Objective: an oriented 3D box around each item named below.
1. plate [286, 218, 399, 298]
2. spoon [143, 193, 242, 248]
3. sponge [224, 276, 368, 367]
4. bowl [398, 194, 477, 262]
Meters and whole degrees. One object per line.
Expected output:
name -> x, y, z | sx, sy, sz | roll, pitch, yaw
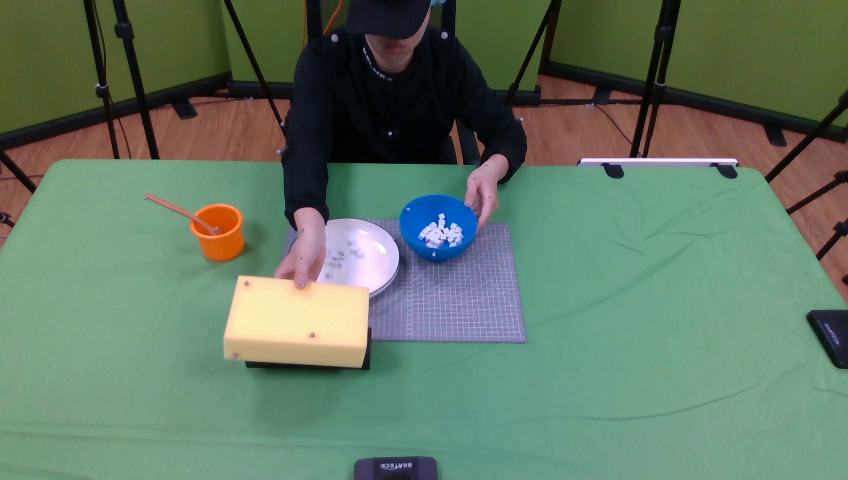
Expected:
plate -> -0.150, 0.042, 1.131 | 0.209, 0.038, 0.208 | 2, 46, -2
spoon -> -0.421, -0.037, 1.113 | 0.021, 0.195, 0.041 | -36, 37, 23
sponge -> -0.194, 0.127, 0.944 | 0.207, 0.061, 0.117 | 6, 46, -10
bowl -> 0.023, -0.011, 1.167 | 0.151, 0.077, 0.150 | 2, 46, -2
